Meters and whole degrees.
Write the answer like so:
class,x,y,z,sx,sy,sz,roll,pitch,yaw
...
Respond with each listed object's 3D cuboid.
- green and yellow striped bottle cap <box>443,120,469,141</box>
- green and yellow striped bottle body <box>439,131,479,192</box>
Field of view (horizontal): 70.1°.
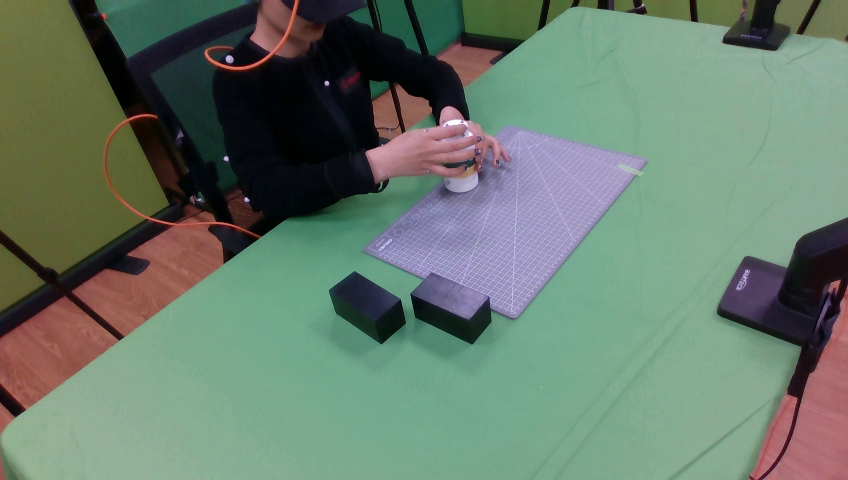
class,x,y,z,sx,sy,sz,roll,pitch,yaw
green and yellow striped bottle cap,0.055,-0.188,1.032,0.045,0.020,0.045,-5,38,5
green and yellow striped bottle body,0.062,-0.149,1.066,0.063,0.120,0.063,-5,40,5
